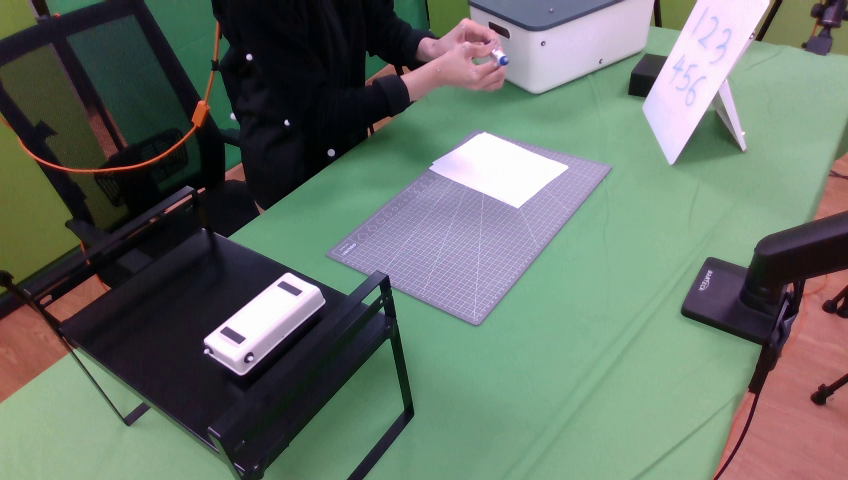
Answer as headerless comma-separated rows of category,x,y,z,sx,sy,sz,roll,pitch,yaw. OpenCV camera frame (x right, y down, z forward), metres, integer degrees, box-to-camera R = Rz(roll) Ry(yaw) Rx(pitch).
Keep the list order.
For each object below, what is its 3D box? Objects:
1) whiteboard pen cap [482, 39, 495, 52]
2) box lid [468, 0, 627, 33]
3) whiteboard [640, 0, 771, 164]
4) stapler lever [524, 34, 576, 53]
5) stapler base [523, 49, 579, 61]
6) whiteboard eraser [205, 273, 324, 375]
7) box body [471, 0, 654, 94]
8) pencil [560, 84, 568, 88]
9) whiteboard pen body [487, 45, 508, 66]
whiteboard pen cap,0.113,-0.336,1.050,0.018,0.018,0.033,-10,39,-4
box lid,0.312,-0.554,1.358,0.373,0.015,0.261,-26,44,-20
whiteboard,0.543,-0.299,1.076,0.144,0.305,0.216,12,40,-7
stapler lever,0.297,-0.462,1.423,0.117,0.040,0.027,4,25,17
stapler base,0.300,-0.441,1.434,0.130,0.024,0.041,3,24,18
whiteboard eraser,-0.157,0.084,0.605,0.055,0.042,0.113,24,49,30
box body,0.319,-0.498,1.405,0.365,0.161,0.252,-26,43,-21
pencil,0.248,-0.394,1.398,0.193,0.012,0.012,34,54,23
whiteboard pen body,0.119,-0.307,0.998,0.017,0.017,0.140,-8,27,-1
